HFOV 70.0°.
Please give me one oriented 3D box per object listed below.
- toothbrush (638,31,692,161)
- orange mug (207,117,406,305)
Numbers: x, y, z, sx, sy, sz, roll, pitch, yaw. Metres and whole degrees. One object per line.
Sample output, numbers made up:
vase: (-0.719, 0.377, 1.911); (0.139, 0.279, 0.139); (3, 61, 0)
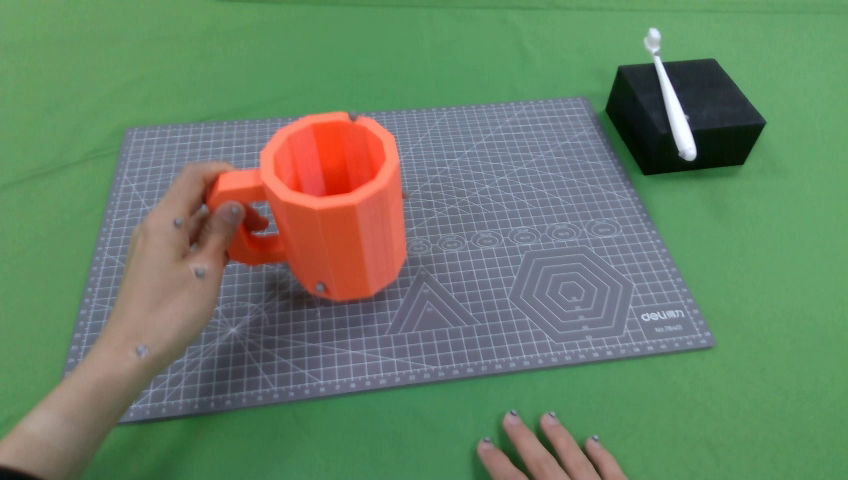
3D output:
toothbrush: (0.216, -0.135, 0.544); (0.014, 0.017, 0.180); (5, 50, -2)
orange mug: (-0.075, -0.016, 0.406); (0.126, 0.101, 0.082); (-6, 51, -10)
